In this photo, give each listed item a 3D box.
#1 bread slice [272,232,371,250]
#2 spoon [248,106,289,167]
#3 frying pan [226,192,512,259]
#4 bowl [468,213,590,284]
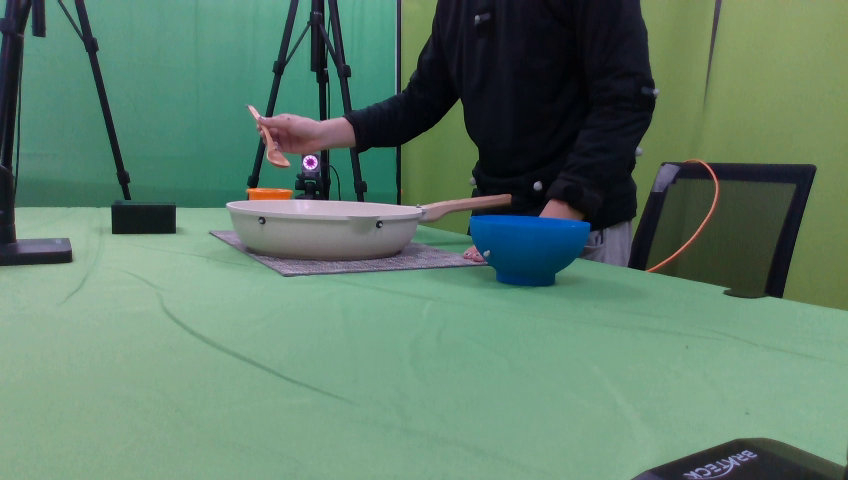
[{"bbox_3d":[-0.148,0.001,0.929,0.133,0.018,0.107,5,7,38],"label":"bread slice"},{"bbox_3d":[-0.307,-0.204,1.179,0.042,0.021,0.193,0,48,-40],"label":"spoon"},{"bbox_3d":[-0.058,-0.041,0.974,0.490,0.102,0.305,-11,13,-26],"label":"frying pan"},{"bbox_3d":[0.128,0.011,0.755,0.151,0.077,0.151,2,7,0],"label":"bowl"}]
